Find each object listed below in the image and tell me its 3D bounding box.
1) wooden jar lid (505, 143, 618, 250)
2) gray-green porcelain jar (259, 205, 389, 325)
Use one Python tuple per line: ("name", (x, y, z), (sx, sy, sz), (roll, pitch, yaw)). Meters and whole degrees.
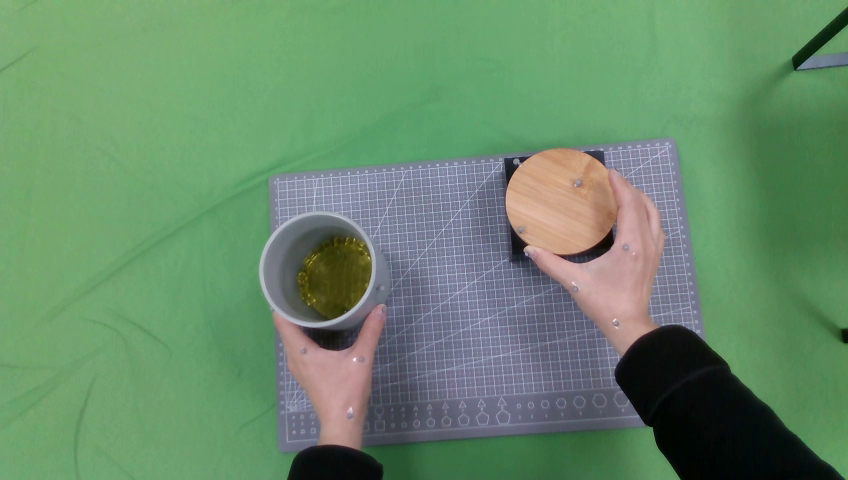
("wooden jar lid", (0.133, -0.041, 0.593), (0.108, 0.021, 0.108), (-1, 78, 6))
("gray-green porcelain jar", (-0.091, 0.030, 0.595), (0.106, 0.127, 0.105), (0, 81, 3))
